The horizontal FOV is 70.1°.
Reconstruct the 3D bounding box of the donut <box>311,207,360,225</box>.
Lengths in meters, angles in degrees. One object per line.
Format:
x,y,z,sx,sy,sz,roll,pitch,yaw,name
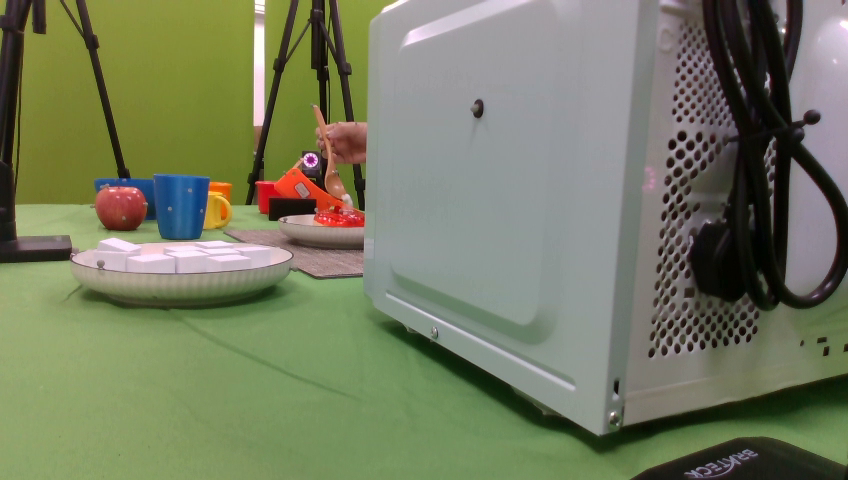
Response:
-0.137,-0.029,0.995,0.099,0.048,0.099,4,9,0,donut

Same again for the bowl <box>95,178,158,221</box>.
-0.576,-0.081,1.217,0.151,0.077,0.151,3,8,0,bowl

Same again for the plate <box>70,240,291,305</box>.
-0.242,0.031,0.618,0.208,0.039,0.207,2,8,0,plate

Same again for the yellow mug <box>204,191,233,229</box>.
-0.415,-0.057,1.131,0.130,0.064,0.100,6,7,16,yellow mug

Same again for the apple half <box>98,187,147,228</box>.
-0.534,-0.059,1.071,0.082,0.081,0.032,-1,10,-26,apple half

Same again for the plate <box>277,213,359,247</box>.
-0.134,-0.017,0.992,0.209,0.038,0.209,2,7,0,plate

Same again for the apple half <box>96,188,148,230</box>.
-0.517,-0.052,1.036,0.081,0.074,0.053,3,10,-26,apple half

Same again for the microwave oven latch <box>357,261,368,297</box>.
-0.019,0.033,0.531,0.079,0.029,0.030,-1,7,-28,microwave oven latch

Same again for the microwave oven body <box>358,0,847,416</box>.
0.211,-0.047,0.474,0.444,0.260,0.324,-1,7,-28,microwave oven body

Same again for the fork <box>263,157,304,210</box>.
-0.345,-0.143,1.505,0.028,0.019,0.207,-4,46,28,fork

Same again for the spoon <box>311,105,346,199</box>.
-0.165,-0.152,1.028,0.042,0.193,0.021,7,-29,-45,spoon

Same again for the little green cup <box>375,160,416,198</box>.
-0.044,-0.096,0.971,0.061,0.038,0.061,-30,-3,-1,little green cup

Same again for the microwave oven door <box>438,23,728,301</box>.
0.181,-0.072,0.621,0.358,0.243,0.039,-2,8,-29,microwave oven door

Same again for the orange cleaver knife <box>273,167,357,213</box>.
-0.238,-0.091,1.381,0.212,0.077,0.012,31,0,-19,orange cleaver knife

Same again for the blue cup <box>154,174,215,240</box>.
-0.391,-0.053,0.978,0.093,0.100,0.092,4,6,0,blue cup
